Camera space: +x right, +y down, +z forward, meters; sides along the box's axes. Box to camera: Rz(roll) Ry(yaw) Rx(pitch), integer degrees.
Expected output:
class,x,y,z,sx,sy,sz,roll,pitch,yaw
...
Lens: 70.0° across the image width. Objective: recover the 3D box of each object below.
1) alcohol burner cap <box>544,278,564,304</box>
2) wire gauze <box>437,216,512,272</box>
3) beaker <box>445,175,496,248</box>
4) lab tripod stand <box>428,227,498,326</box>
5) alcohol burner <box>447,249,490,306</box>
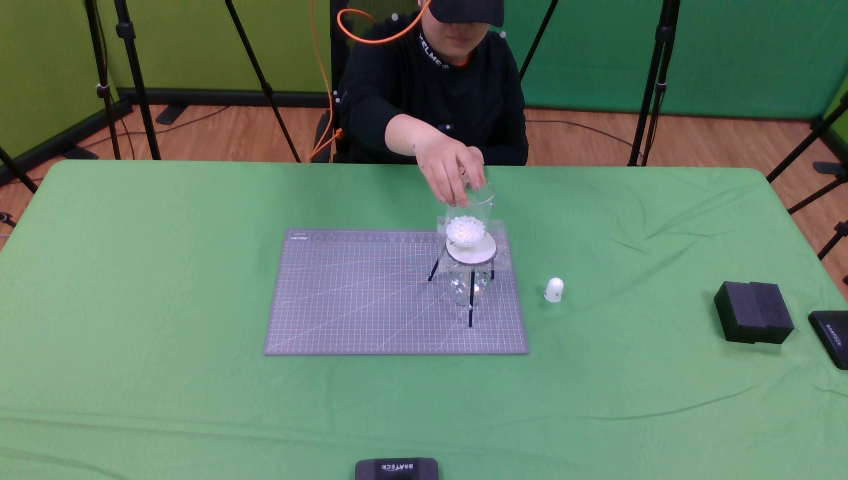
class,x,y,z,sx,sy,sz,roll,pitch,yaw
alcohol burner cap,0.241,0.091,1.117,0.034,0.048,0.033,2,45,-1
wire gauze,0.083,0.006,1.025,0.121,0.011,0.124,2,47,-4
beaker,0.072,-0.045,0.981,0.074,0.101,0.083,2,42,-3
lab tripod stand,0.079,0.056,1.070,0.148,0.132,0.147,3,47,-3
alcohol burner,0.080,0.062,1.078,0.078,0.120,0.077,1,45,-1
